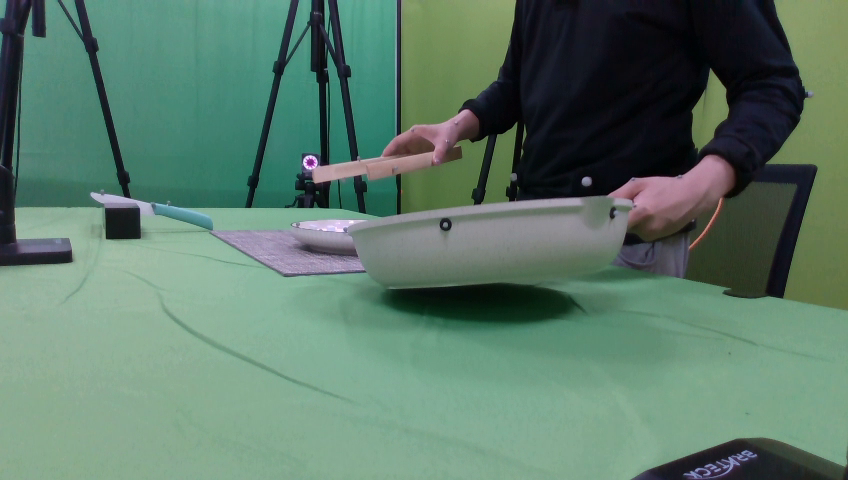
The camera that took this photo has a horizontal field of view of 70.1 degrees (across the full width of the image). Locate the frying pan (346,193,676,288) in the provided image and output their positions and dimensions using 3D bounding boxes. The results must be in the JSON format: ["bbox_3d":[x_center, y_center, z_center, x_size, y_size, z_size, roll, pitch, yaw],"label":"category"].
[{"bbox_3d":[0.150,-0.016,0.692,0.490,0.102,0.305,-13,4,-35],"label":"frying pan"}]

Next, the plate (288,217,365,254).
[{"bbox_3d":[-0.109,-0.007,0.956,0.208,0.039,0.207,2,7,0],"label":"plate"}]

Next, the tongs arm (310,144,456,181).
[{"bbox_3d":[-0.056,-0.144,1.093,0.050,0.026,0.386,-1,11,33],"label":"tongs arm"}]

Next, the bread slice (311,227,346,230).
[{"bbox_3d":[-0.115,-0.005,0.950,0.134,0.018,0.107,4,6,-7],"label":"bread slice"}]

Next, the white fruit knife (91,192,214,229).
[{"bbox_3d":[-0.478,-0.055,1.077,0.208,0.027,0.016,14,-2,-30],"label":"white fruit knife"}]

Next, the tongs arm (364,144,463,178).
[{"bbox_3d":[-0.005,-0.143,1.063,0.028,0.028,0.389,-6,9,27],"label":"tongs arm"}]
